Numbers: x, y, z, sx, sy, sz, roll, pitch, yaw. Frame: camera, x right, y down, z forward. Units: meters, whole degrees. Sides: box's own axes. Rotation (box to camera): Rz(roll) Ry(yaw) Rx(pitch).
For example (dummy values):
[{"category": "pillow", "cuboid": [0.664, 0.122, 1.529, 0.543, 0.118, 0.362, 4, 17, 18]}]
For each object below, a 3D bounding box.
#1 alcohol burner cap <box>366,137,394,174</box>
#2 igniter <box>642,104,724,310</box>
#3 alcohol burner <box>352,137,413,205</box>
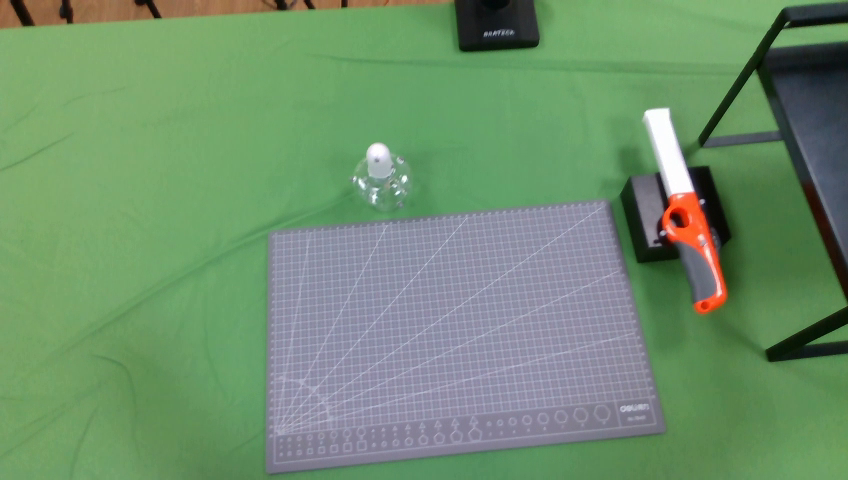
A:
[{"category": "alcohol burner cap", "cuboid": [-0.054, -0.105, 0.732, 0.034, 0.048, 0.033, -1, 68, 3]}, {"category": "igniter", "cuboid": [0.310, -0.048, 0.729, 0.057, 0.025, 0.274, -5, 65, 1]}, {"category": "alcohol burner", "cuboid": [-0.054, -0.093, 0.760, 0.078, 0.120, 0.077, -1, 68, 3]}]
